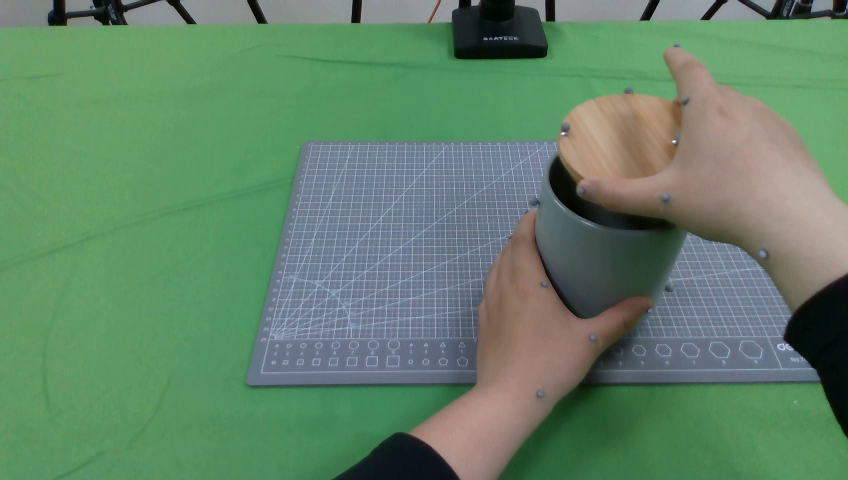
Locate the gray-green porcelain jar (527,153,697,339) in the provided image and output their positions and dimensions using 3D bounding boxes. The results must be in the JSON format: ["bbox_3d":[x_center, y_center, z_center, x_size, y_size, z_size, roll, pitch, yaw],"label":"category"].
[{"bbox_3d":[0.134,0.004,0.459,0.106,0.127,0.105,0,46,1],"label":"gray-green porcelain jar"}]

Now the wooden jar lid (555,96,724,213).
[{"bbox_3d":[0.141,-0.056,0.404,0.108,0.021,0.107,-1,48,1],"label":"wooden jar lid"}]
